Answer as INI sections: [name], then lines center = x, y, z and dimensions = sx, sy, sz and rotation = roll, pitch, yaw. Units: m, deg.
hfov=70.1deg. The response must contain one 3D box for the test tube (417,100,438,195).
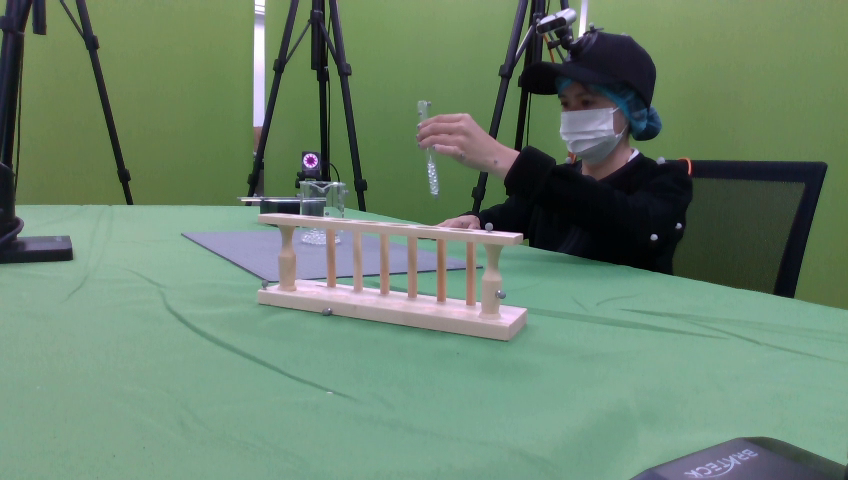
[test tube]
center = 0.005, -0.144, 0.942
dimensions = 0.017, 0.150, 0.017
rotation = -7, -4, 0

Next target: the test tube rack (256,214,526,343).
[test tube rack]
center = -0.032, 0.027, 0.547
dimensions = 0.241, 0.085, 0.067
rotation = 5, 7, 22

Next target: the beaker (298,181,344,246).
[beaker]
center = -0.166, -0.043, 0.972
dimensions = 0.074, 0.100, 0.084
rotation = 1, 8, -10

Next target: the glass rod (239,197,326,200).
[glass rod]
center = -0.287, -0.087, 1.250
dimensions = 0.201, 0.008, 0.008
rotation = -4, 10, -42
